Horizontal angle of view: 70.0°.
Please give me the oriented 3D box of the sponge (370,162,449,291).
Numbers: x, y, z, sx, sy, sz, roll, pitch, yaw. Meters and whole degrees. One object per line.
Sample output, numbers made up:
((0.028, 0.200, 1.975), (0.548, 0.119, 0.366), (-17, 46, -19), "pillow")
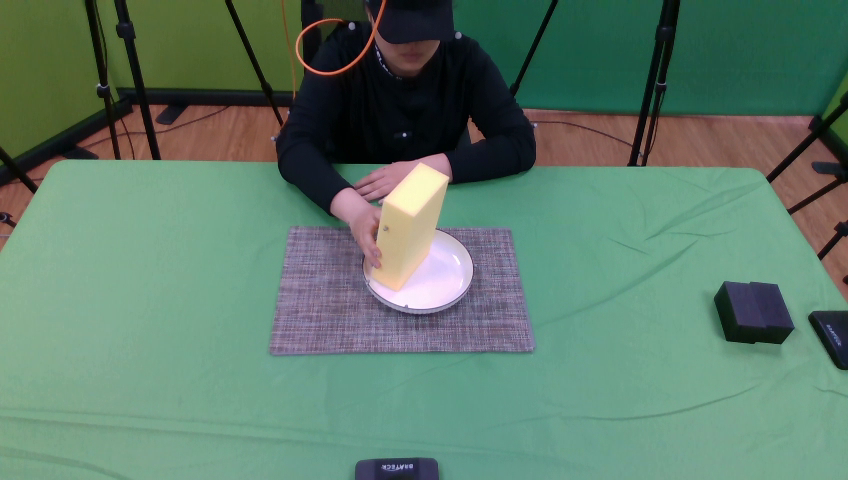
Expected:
((-0.028, -0.019, 1.066), (0.061, 0.207, 0.118), (30, 50, 12), "sponge")

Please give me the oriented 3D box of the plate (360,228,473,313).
((-0.014, 0.057, 1.126), (0.208, 0.039, 0.206), (2, 46, -2), "plate")
